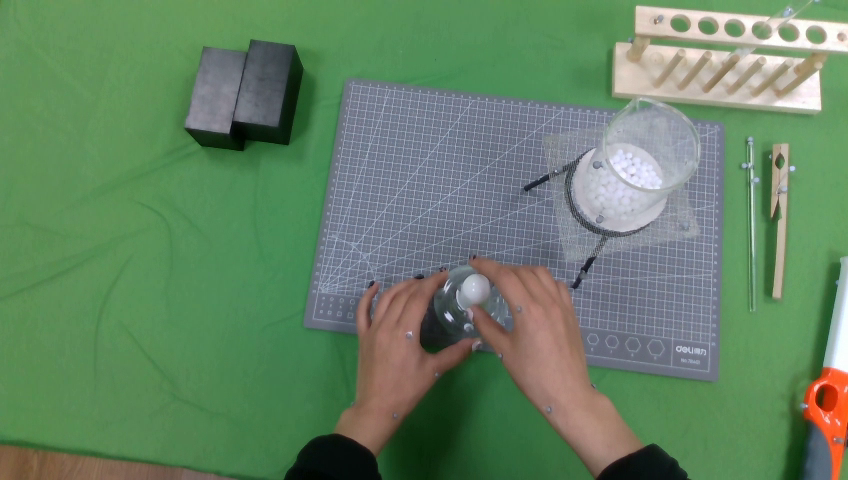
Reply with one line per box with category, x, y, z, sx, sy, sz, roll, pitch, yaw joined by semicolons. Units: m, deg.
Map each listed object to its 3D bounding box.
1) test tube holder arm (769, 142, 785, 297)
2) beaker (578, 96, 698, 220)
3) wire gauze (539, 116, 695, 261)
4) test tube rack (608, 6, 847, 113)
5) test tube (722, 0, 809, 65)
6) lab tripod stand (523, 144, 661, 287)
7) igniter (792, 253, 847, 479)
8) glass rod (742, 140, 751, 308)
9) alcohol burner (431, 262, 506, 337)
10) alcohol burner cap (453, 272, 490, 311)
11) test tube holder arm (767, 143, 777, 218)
test tube holder arm;0.398;-0.024;0.682;0.013;0.015;0.177;0;76;34
beaker;0.174;-0.064;0.512;0.074;0.101;0.083;-8;77;0
wire gauze;0.176;-0.050;0.559;0.121;0.011;0.124;-9;79;1
test tube rack;0.343;-0.202;0.689;0.242;0.085;0.066;5;77;1
test tube;0.364;-0.227;0.644;0.017;0.150;0.017;1;77;-6
lab tripod stand;0.170;-0.034;0.622;0.148;0.132;0.147;0;78;2
igniter;0.431;0.146;0.641;0.057;0.025;0.275;20;78;-6
glass rod;0.366;-0.021;0.687;0.008;0.008;0.199;6;77;1
alcohol burner;0.047;0.057;0.611;0.078;0.119;0.077;0;75;-1
alcohol burner cap;0.047;0.047;0.577;0.034;0.048;0.033;2;69;-5
test tube holder arm;0.399;-0.068;0.694;0.010;0.015;0.087;0;76;34
